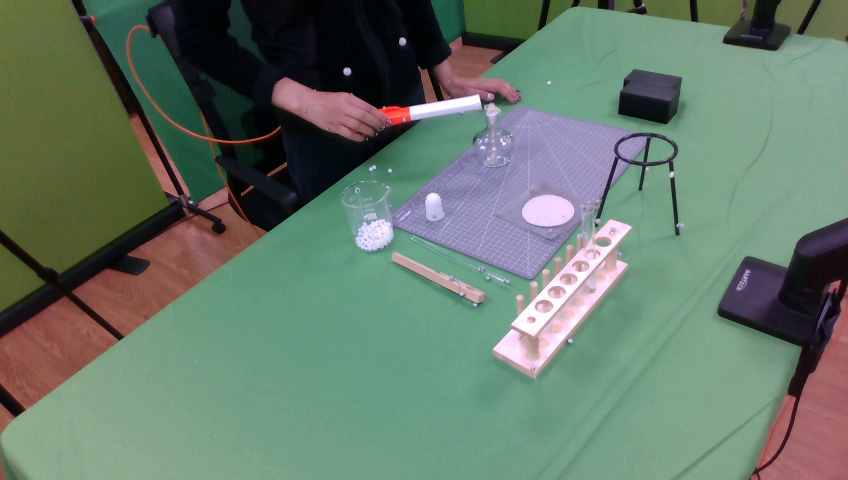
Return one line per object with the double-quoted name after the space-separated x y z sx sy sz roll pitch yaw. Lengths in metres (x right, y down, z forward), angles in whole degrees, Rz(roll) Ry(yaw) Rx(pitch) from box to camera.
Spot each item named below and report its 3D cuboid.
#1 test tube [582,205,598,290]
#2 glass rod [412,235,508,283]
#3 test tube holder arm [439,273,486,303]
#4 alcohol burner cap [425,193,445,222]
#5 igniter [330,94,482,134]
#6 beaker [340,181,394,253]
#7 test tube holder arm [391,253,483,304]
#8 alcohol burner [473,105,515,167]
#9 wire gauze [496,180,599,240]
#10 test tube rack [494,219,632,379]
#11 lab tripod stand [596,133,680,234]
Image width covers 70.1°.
0.220 0.014 0.798 0.017 0.151 0.017 -9 43 9 "test tube"
0.051 0.028 0.951 0.198 0.008 0.008 25 51 37 "glass rod"
0.053 0.070 0.896 0.087 0.015 0.010 24 17 34 "test tube holder arm"
0.017 -0.058 1.029 0.034 0.048 0.033 -6 40 5 "alcohol burner cap"
-0.035 -0.226 1.087 0.276 0.025 0.057 -9 41 4 "igniter"
-0.087 -0.037 0.985 0.084 0.101 0.073 -18 41 -11 "beaker"
0.016 0.056 0.917 0.177 0.015 0.013 24 17 34 "test tube holder arm"
0.128 -0.196 1.116 0.078 0.119 0.077 -4 40 4 "alcohol burner"
0.206 -0.050 1.012 0.125 0.011 0.120 -34 45 -26 "wire gauze"
0.191 0.068 0.818 0.066 0.085 0.243 25 51 35 "test tube rack"
0.338 -0.090 0.940 0.148 0.132 0.147 -7 39 6 "lab tripod stand"
